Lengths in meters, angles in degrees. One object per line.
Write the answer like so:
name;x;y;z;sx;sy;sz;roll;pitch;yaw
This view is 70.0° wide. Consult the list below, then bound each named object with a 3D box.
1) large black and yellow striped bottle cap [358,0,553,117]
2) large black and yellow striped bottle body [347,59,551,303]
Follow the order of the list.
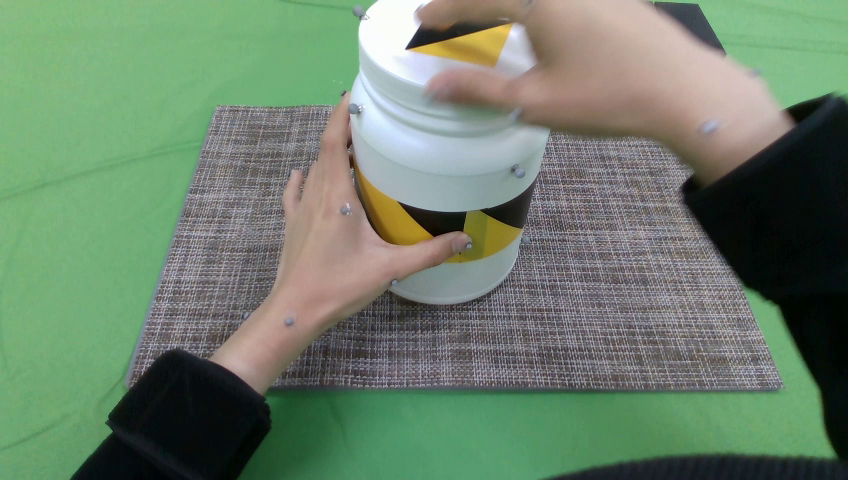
large black and yellow striped bottle cap;0.018;-0.115;0.355;0.115;0.019;0.114;2;51;-2
large black and yellow striped bottle body;0.014;-0.058;0.421;0.131;0.185;0.129;2;50;-2
